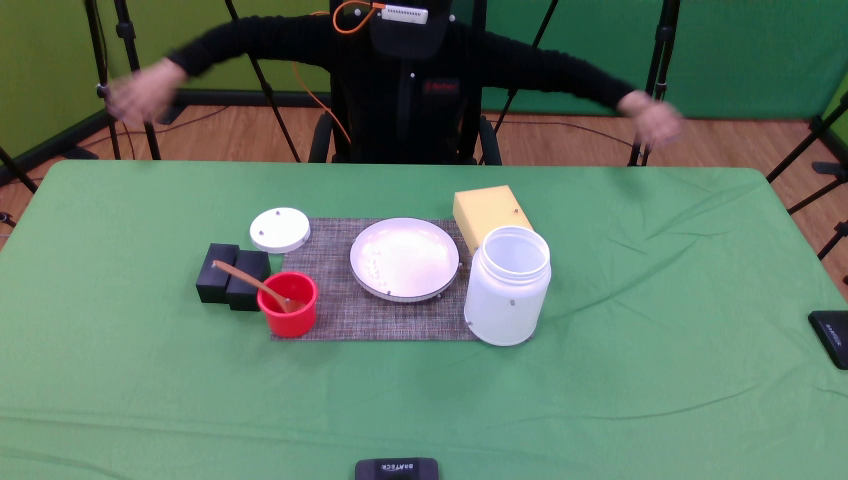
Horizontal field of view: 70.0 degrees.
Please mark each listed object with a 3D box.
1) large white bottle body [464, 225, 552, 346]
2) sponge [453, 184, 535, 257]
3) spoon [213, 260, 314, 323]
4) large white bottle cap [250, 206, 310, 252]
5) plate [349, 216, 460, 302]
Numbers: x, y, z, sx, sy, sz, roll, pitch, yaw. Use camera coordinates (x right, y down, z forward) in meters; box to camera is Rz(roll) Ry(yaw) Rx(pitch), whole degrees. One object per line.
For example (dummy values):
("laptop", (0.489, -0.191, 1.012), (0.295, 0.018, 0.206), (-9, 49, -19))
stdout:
("large white bottle body", (0.141, 0.076, 1.017), (0.131, 0.185, 0.130), (2, 46, -2))
("sponge", (0.144, -0.016, 1.192), (0.118, 0.061, 0.205), (-11, 48, -13))
("spoon", (-0.264, 0.083, 1.009), (0.195, 0.021, 0.041), (40, 40, -28))
("large white bottle cap", (-0.284, -0.023, 1.198), (0.115, 0.018, 0.114), (1, 46, 0))
("plate", (-0.037, 0.038, 1.142), (0.209, 0.038, 0.208), (2, 46, -2))
